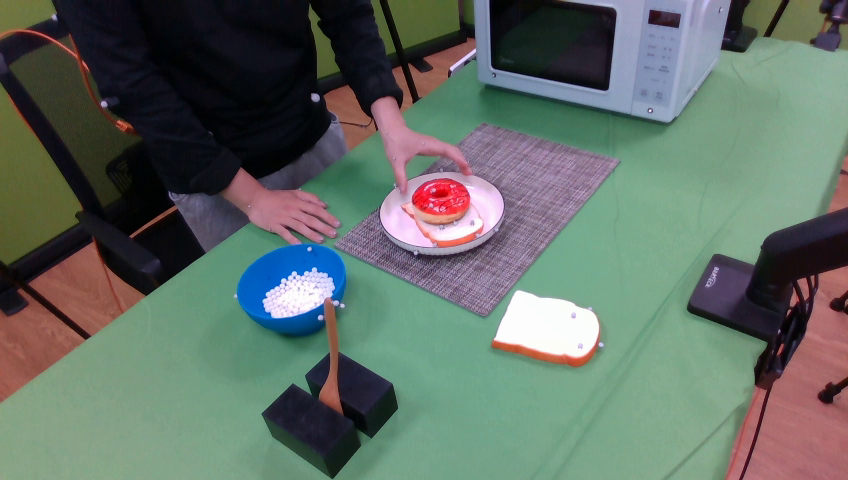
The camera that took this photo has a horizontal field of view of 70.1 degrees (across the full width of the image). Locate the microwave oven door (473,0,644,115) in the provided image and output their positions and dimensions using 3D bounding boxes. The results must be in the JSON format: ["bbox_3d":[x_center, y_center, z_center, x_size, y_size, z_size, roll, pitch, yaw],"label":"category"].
[{"bbox_3d":[0.257,-0.396,1.199,0.353,0.245,0.039,21,48,29],"label":"microwave oven door"}]

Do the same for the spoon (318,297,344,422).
[{"bbox_3d":[-0.107,0.139,0.687,0.041,0.194,0.022,27,37,31],"label":"spoon"}]

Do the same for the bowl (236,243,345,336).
[{"bbox_3d":[-0.180,0.082,0.855,0.151,0.077,0.150,-4,41,4],"label":"bowl"}]

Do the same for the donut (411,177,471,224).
[{"bbox_3d":[0.028,-0.064,0.978,0.099,0.048,0.098,-4,39,4],"label":"donut"}]

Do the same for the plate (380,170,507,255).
[{"bbox_3d":[0.033,-0.042,0.995,0.207,0.039,0.206,-4,40,4],"label":"plate"}]

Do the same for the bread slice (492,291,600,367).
[{"bbox_3d":[0.169,0.118,0.811,0.131,0.019,0.105,11,44,21],"label":"bread slice"}]

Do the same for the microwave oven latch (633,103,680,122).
[{"bbox_3d":[0.444,-0.249,1.157,0.078,0.029,0.030,21,49,30],"label":"microwave oven latch"}]

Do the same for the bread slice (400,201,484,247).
[{"bbox_3d":[0.037,-0.038,0.990,0.107,0.018,0.133,-23,43,-17],"label":"bread slice"}]

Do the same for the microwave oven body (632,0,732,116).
[{"bbox_3d":[0.377,-0.462,1.267,0.438,0.261,0.327,21,48,30],"label":"microwave oven body"}]
